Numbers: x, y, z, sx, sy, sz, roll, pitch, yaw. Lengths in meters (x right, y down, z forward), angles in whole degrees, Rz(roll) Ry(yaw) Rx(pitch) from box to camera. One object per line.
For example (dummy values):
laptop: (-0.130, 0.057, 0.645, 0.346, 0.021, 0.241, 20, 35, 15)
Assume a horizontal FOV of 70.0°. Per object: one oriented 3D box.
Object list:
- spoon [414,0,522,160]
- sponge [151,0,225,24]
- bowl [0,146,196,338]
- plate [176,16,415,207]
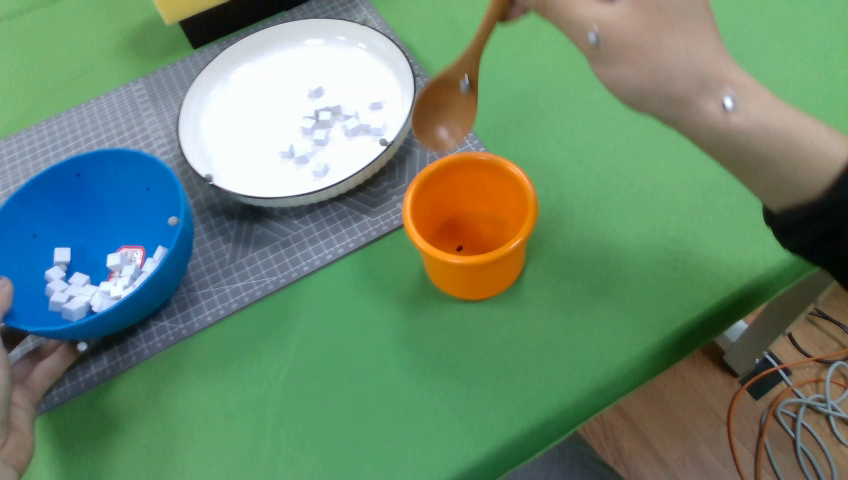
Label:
spoon: (0.039, -0.114, 0.336, 0.042, 0.194, 0.021, 28, 52, -3)
sponge: (-0.181, -0.303, 0.586, 0.207, 0.061, 0.117, -27, 60, -9)
bowl: (-0.233, 0.012, 0.452, 0.151, 0.077, 0.150, -3, 59, 6)
plate: (-0.109, -0.112, 0.533, 0.209, 0.038, 0.207, -3, 60, 5)
